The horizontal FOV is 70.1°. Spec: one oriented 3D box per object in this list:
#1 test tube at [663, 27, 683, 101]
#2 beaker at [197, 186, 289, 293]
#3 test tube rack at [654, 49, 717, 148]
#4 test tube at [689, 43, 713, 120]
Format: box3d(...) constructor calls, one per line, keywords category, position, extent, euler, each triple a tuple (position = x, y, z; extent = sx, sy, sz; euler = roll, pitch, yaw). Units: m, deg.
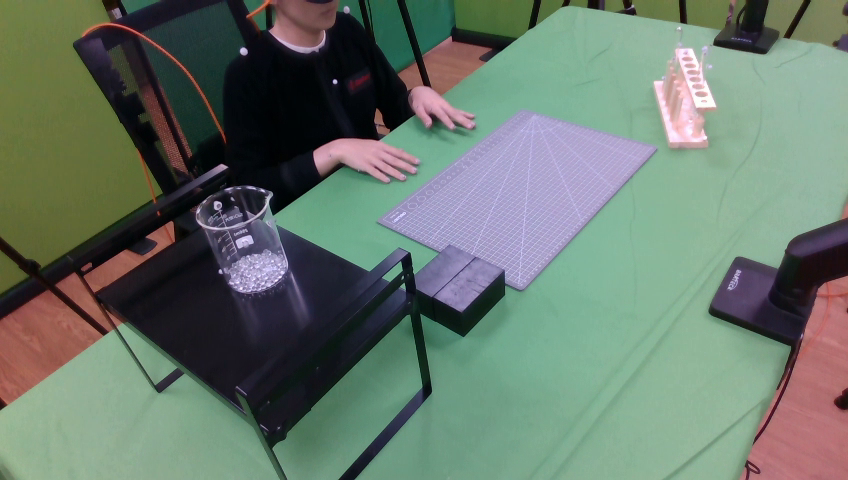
box3d(category="test tube", position=(0.486, -0.342, 1.181), extent=(0.017, 0.151, 0.017), euler=(-4, 42, 4))
box3d(category="beaker", position=(-0.192, 0.001, 0.666), extent=(0.084, 0.101, 0.073), euler=(-33, 47, -27))
box3d(category="test tube rack", position=(0.502, -0.281, 1.176), extent=(0.066, 0.085, 0.241), euler=(1, 41, 11))
box3d(category="test tube", position=(0.506, -0.286, 1.106), extent=(0.017, 0.151, 0.017), euler=(-4, 43, 4))
